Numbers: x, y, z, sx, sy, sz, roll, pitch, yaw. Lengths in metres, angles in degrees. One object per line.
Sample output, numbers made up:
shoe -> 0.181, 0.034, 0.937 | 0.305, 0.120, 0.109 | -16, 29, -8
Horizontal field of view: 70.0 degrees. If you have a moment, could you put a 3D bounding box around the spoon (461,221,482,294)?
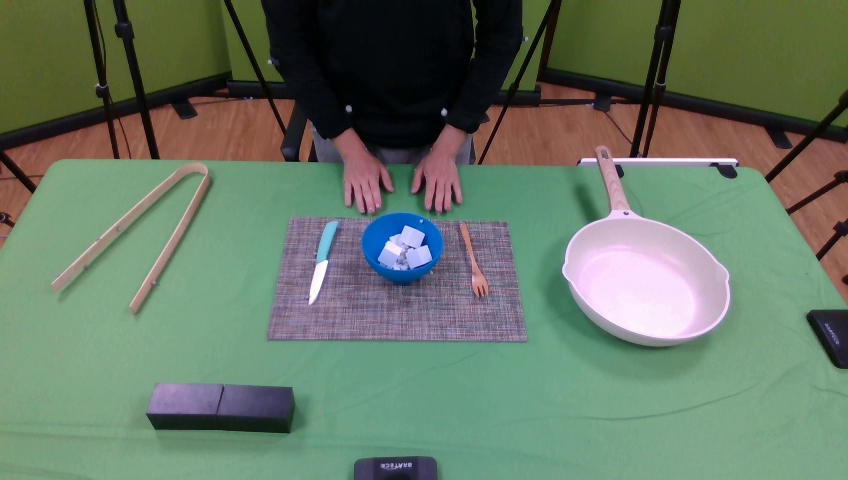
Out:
spoon -> 0.087, 0.031, 1.169 | 0.042, 0.022, 0.192 | 11, 47, -13

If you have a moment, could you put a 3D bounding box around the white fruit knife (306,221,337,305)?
white fruit knife -> -0.196, 0.040, 1.143 | 0.027, 0.016, 0.206 | -1, 46, 8

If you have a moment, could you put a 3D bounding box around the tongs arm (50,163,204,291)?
tongs arm -> -0.561, -0.036, 1.178 | 0.050, 0.026, 0.383 | 17, 46, 10

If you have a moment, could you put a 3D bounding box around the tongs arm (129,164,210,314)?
tongs arm -> -0.483, -0.016, 1.170 | 0.028, 0.028, 0.385 | 5, 46, 4

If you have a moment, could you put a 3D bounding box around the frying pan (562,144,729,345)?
frying pan -> 0.396, -0.008, 1.179 | 0.307, 0.103, 0.484 | 1, 55, -4

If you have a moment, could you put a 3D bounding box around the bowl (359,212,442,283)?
bowl -> -0.044, 0.026, 1.125 | 0.151, 0.077, 0.150 | 2, 46, -2
